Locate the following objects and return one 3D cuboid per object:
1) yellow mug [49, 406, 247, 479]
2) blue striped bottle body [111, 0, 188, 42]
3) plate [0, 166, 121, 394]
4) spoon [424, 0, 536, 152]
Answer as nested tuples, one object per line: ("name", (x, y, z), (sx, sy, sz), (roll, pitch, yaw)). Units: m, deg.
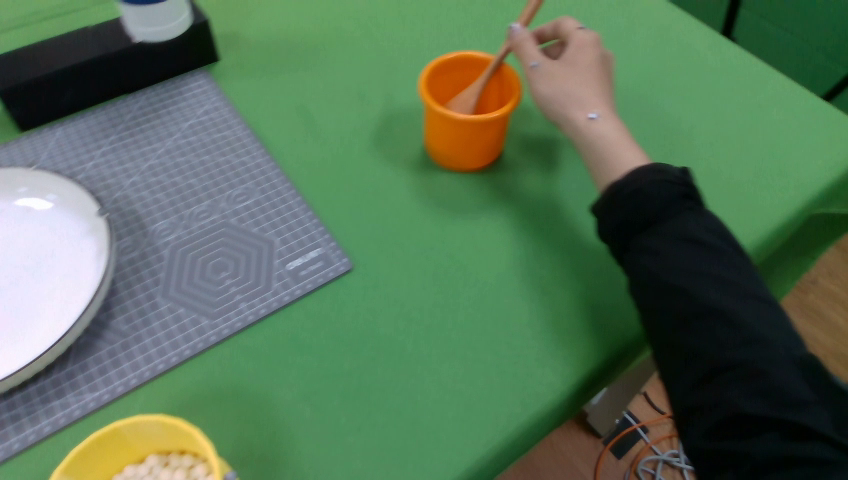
("yellow mug", (-0.174, 0.163, 0.355), (0.131, 0.064, 0.099), (-21, 58, -16))
("blue striped bottle body", (-0.261, -0.247, 0.546), (0.063, 0.122, 0.062), (1, 54, -1))
("plate", (-0.333, 0.033, 0.454), (0.208, 0.039, 0.205), (1, 54, -2))
("spoon", (0.058, -0.164, 0.541), (0.041, 0.022, 0.194), (41, 103, 27))
